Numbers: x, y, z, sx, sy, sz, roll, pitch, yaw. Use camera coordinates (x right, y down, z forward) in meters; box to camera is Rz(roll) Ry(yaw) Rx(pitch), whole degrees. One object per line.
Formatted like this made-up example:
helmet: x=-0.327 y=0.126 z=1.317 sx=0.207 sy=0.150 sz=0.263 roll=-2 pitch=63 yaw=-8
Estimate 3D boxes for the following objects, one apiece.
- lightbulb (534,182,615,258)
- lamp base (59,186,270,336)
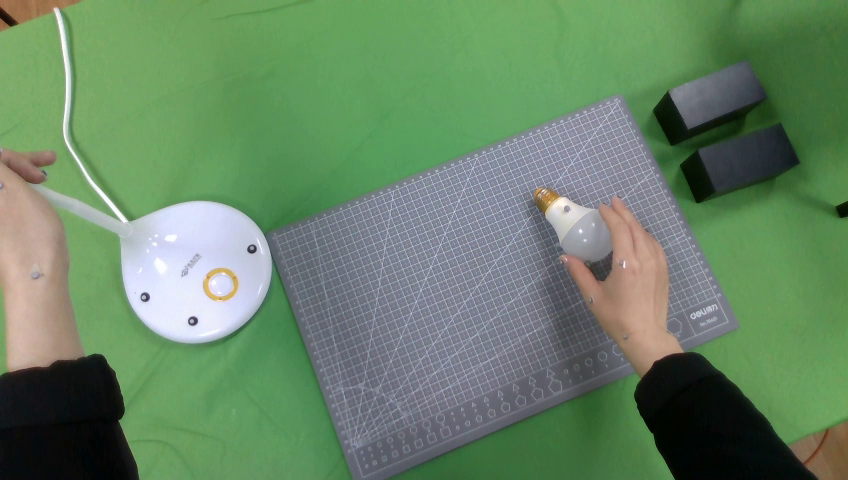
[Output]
lightbulb: x=0.161 y=-0.026 z=0.668 sx=0.059 sy=0.060 sz=0.107 roll=-40 pitch=66 yaw=-7
lamp base: x=-0.265 y=0.006 z=0.602 sx=0.179 sy=0.181 sz=0.160 roll=23 pitch=79 yaw=8
